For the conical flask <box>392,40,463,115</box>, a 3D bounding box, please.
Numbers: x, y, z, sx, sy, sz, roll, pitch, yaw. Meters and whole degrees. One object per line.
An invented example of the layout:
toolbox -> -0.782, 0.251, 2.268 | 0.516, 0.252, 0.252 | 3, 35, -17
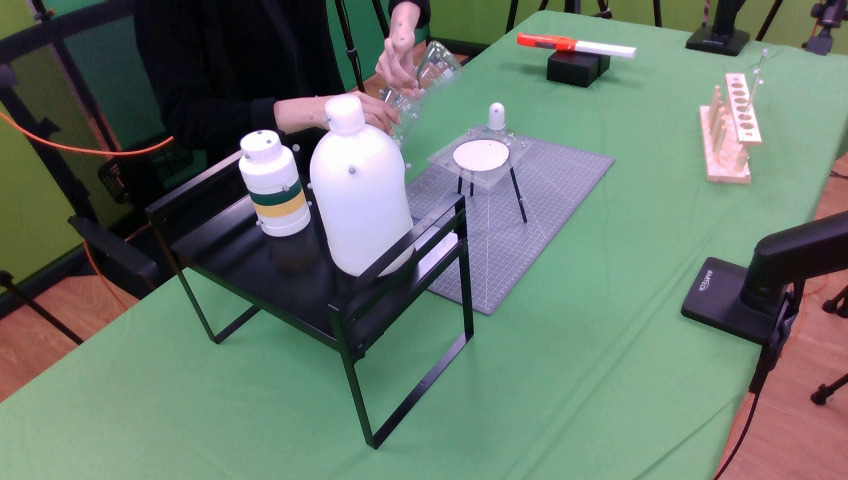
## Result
conical flask -> 0.001, -0.267, 1.016 | 0.122, 0.076, 0.074 | -45, 44, 7

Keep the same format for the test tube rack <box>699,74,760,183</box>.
test tube rack -> 0.547, -0.208, 1.095 | 0.066, 0.085, 0.242 | 6, 42, 16

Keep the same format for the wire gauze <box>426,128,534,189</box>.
wire gauze -> 0.086, -0.131, 0.924 | 0.124, 0.011, 0.122 | 26, 52, 33

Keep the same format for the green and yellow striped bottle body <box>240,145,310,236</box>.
green and yellow striped bottle body -> -0.181, -0.069, 0.729 | 0.063, 0.120, 0.063 | -4, 40, 4

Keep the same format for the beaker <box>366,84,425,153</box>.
beaker -> -0.053, -0.201, 1.019 | 0.074, 0.100, 0.084 | 31, 13, 11

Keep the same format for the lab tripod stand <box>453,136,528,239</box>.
lab tripod stand -> 0.094, -0.086, 0.974 | 0.148, 0.132, 0.147 | -4, 43, 4

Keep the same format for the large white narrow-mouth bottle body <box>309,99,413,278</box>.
large white narrow-mouth bottle body -> -0.068, -0.057, 0.644 | 0.102, 0.195, 0.101 | -4, 42, 4

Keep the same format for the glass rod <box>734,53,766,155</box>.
glass rod -> 0.540, -0.220, 1.007 | 0.008, 0.201, 0.008 | -5, 45, 6

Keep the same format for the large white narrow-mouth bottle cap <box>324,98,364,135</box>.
large white narrow-mouth bottle cap -> -0.077, -0.120, 0.585 | 0.038, 0.024, 0.037 | -3, 42, 4

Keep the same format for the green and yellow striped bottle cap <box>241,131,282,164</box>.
green and yellow striped bottle cap -> -0.187, -0.107, 0.695 | 0.045, 0.020, 0.045 | -3, 39, 3

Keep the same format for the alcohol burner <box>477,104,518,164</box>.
alcohol burner -> 0.135, -0.200, 1.117 | 0.078, 0.119, 0.077 | -4, 43, 4

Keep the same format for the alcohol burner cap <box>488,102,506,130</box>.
alcohol burner cap -> 0.133, -0.227, 1.092 | 0.034, 0.048, 0.033 | -1, 47, 2

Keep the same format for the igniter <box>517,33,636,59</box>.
igniter -> 0.336, -0.441, 1.369 | 0.275, 0.025, 0.057 | 16, 41, 23
